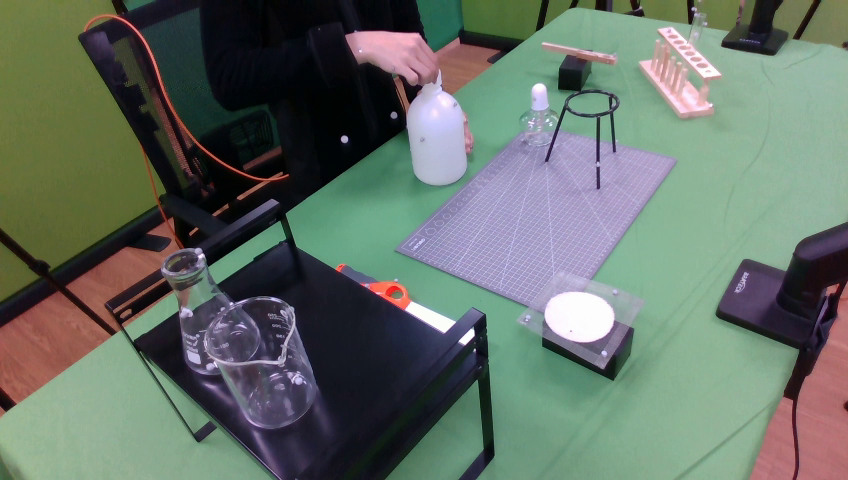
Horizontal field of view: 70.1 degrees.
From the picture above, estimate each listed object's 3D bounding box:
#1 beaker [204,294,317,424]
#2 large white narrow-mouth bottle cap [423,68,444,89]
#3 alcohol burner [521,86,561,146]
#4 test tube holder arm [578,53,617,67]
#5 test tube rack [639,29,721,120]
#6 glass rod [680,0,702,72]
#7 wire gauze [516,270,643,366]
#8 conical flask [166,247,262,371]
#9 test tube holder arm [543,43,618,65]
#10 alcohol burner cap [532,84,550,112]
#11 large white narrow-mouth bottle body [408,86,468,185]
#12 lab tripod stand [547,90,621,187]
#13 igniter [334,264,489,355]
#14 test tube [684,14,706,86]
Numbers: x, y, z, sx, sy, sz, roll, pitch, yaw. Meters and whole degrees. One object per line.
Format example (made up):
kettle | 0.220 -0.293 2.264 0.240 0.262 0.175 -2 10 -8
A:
beaker | -0.137 0.110 0.536 0.083 0.101 0.074 30 53 35
large white narrow-mouth bottle cap | 0.016 -0.273 1.022 0.038 0.024 0.037 -4 40 4
alcohol burner | 0.223 -0.241 1.156 0.078 0.119 0.077 -5 43 5
test tube holder arm | 0.376 -0.393 1.314 0.087 0.015 0.010 26 50 32
test tube rack | 0.527 -0.351 1.262 0.067 0.085 0.241 -8 40 1
glass rod | 0.543 -0.417 1.233 0.008 0.200 0.008 1 40 0
wire gauze | 0.200 0.093 0.777 0.124 0.011 0.122 23 49 32
conical flask | -0.208 0.064 0.584 0.075 0.122 0.075 -5 40 4
test tube holder arm | 0.345 -0.413 1.341 0.177 0.015 0.013 25 50 31
alcohol burner cap | 0.218 -0.269 1.133 0.034 0.048 0.033 -8 36 7
large white narrow-mouth bottle body | 0.024 -0.201 1.082 0.102 0.195 0.101 -4 40 4
lab tripod stand | 0.289 -0.184 1.062 0.148 0.132 0.147 -6 41 6
igniter | -0.030 0.095 0.871 0.274 0.025 0.057 22 59 31
test tube | 0.540 -0.378 1.215 0.017 0.151 0.017 -2 44 3
